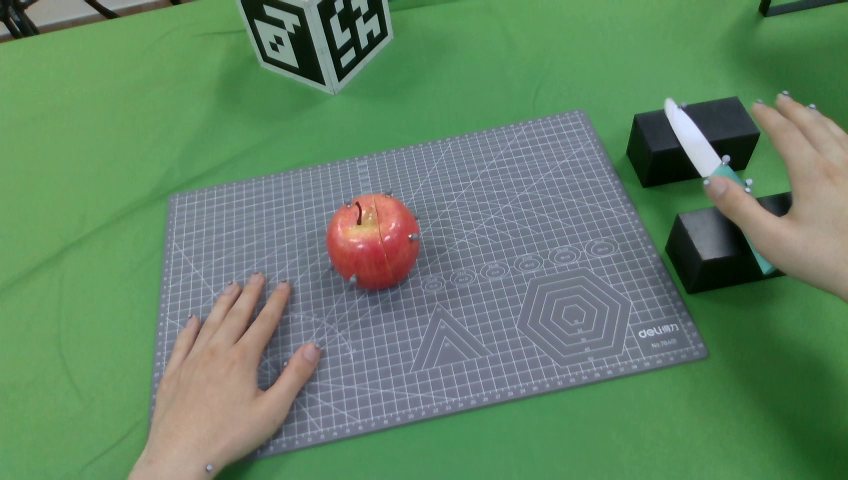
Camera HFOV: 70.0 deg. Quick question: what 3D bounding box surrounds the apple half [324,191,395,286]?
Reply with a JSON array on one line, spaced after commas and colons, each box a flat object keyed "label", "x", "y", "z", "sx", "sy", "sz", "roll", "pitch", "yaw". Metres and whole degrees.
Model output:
[{"label": "apple half", "x": -0.059, "y": 0.004, "z": 0.530, "sx": 0.053, "sy": 0.075, "sz": 0.080, "roll": -15, "pitch": 58, "yaw": 2}]

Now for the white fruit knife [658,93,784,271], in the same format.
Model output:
[{"label": "white fruit knife", "x": 0.246, "y": -0.061, "z": 0.516, "sx": 0.027, "sy": 0.016, "sz": 0.205, "roll": -18, "pitch": 53, "yaw": 6}]

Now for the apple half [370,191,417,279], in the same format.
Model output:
[{"label": "apple half", "x": -0.021, "y": -0.006, "z": 0.531, "sx": 0.033, "sy": 0.082, "sz": 0.080, "roll": -16, "pitch": 53, "yaw": 2}]
